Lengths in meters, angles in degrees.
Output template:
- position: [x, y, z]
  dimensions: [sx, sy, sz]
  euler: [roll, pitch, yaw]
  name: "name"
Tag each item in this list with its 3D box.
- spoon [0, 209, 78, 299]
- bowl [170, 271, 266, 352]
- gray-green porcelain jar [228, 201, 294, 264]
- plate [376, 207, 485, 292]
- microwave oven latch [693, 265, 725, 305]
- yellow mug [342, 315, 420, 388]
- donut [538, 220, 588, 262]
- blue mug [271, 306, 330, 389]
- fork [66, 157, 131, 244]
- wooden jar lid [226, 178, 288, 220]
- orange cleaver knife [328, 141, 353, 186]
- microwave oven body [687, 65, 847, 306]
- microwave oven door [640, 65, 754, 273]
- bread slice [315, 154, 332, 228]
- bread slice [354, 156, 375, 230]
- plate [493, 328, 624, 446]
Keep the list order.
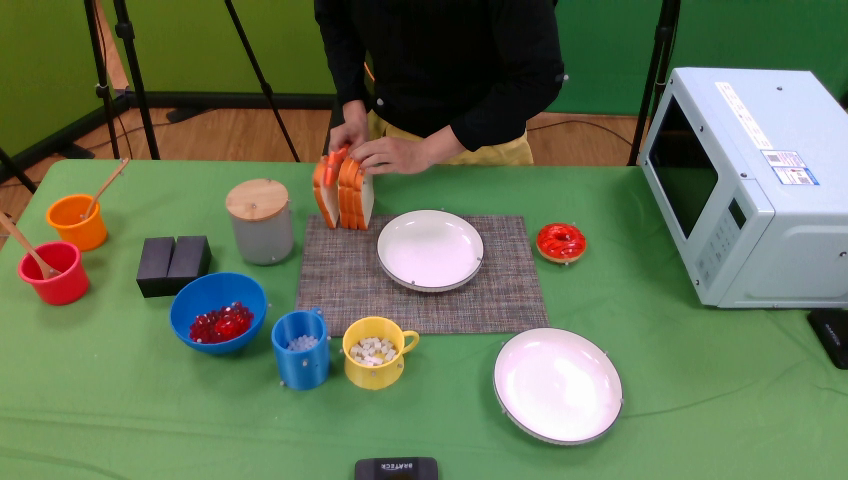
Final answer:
- position: [-0.668, 0.021, 1.040]
  dimensions: [0.041, 0.021, 0.194]
  euler: [-41, 105, -30]
  name: "spoon"
- position: [-0.333, 0.132, 1.006]
  dimensions: [0.151, 0.077, 0.150]
  euler: [2, 46, -2]
  name: "bowl"
- position: [-0.299, -0.027, 1.126]
  dimensions: [0.106, 0.127, 0.105]
  euler: [2, 46, -2]
  name: "gray-green porcelain jar"
- position: [0.012, 0.021, 1.159]
  dimensions: [0.209, 0.038, 0.208]
  euler: [2, 47, -2]
  name: "plate"
- position: [0.523, 0.081, 1.115]
  dimensions: [0.030, 0.029, 0.078]
  euler: [3, 46, 0]
  name: "microwave oven latch"
- position: [-0.068, 0.177, 0.990]
  dimensions: [0.131, 0.064, 0.099]
  euler: [-15, 50, -19]
  name: "yellow mug"
- position: [0.273, 0.000, 1.198]
  dimensions: [0.099, 0.048, 0.098]
  euler: [1, 47, 0]
  name: "donut"
- position: [-0.188, 0.163, 0.969]
  dimensions: [0.082, 0.106, 0.116]
  euler: [15, 47, 10]
  name: "blue mug"
- position: [-0.608, -0.074, 1.132]
  dimensions: [0.207, 0.019, 0.028]
  euler: [-52, 48, 10]
  name: "fork"
- position: [-0.296, -0.070, 1.081]
  dimensions: [0.108, 0.021, 0.107]
  euler: [0, 45, 0]
  name: "wooden jar lid"
- position: [-0.172, -0.161, 1.253]
  dimensions: [0.012, 0.077, 0.210]
  euler: [11, 19, 0]
  name: "orange cleaver knife"
- position: [0.669, -0.112, 1.176]
  dimensions: [0.326, 0.261, 0.439]
  euler: [0, 46, -3]
  name: "microwave oven body"
- position: [0.523, -0.147, 1.193]
  dimensions: [0.039, 0.245, 0.353]
  euler: [0, 47, -3]
  name: "microwave oven door"
- position: [-0.201, -0.107, 1.211]
  dimensions: [0.019, 0.132, 0.104]
  euler: [7, 40, -1]
  name: "bread slice"
- position: [-0.119, -0.099, 1.208]
  dimensions: [0.018, 0.135, 0.106]
  euler: [9, 50, 6]
  name: "bread slice"
- position: [0.213, 0.236, 0.974]
  dimensions: [0.208, 0.039, 0.206]
  euler: [2, 46, -2]
  name: "plate"
